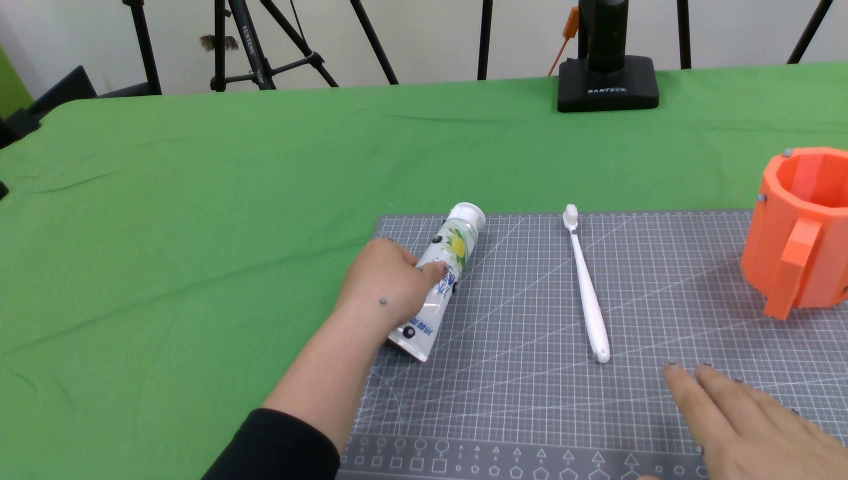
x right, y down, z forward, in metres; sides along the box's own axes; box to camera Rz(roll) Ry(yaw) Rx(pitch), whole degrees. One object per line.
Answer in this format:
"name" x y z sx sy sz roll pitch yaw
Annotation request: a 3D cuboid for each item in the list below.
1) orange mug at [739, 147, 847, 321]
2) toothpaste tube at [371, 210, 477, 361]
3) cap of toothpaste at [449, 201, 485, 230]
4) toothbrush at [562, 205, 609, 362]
"orange mug" 0.293 0.000 0.464 0.083 0.102 0.126 22 46 32
"toothpaste tube" 0.010 0.028 0.540 0.055 0.034 0.164 34 49 -4
"cap of toothpaste" 0.042 -0.022 0.590 0.037 0.038 0.011 10 46 22
"toothbrush" 0.139 0.030 0.527 0.014 0.017 0.180 7 42 -4
